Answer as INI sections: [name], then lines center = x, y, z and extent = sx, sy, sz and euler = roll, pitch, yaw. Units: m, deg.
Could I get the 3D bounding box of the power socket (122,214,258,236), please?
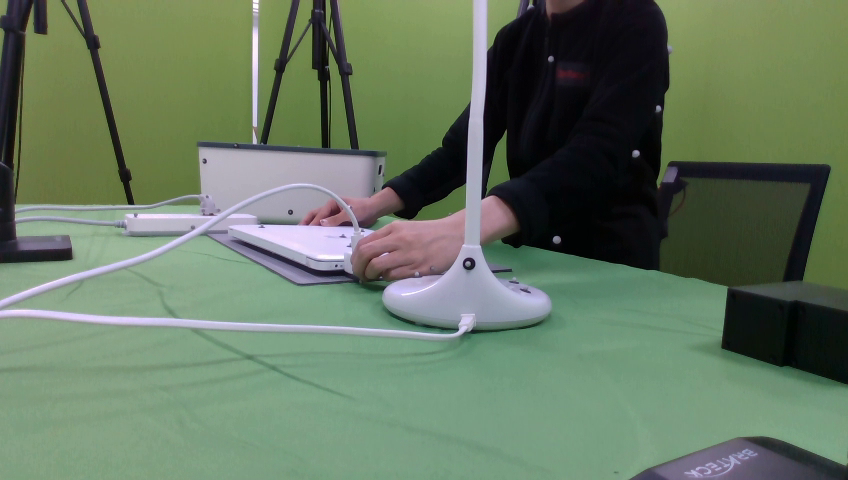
[power socket]
center = -0.398, -0.028, 1.049
extent = 0.228, 0.032, 0.072
euler = -3, 8, -34

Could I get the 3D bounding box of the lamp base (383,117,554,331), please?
[lamp base]
center = 0.045, -0.019, 0.547
extent = 0.161, 0.180, 0.179
euler = 2, 10, -4

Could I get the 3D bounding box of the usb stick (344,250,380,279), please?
[usb stick]
center = -0.074, 0.027, 0.687
extent = 0.021, 0.027, 0.059
euler = -11, 11, -34

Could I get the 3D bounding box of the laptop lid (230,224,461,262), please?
[laptop lid]
center = -0.120, 0.000, 0.889
extent = 0.243, 0.013, 0.355
euler = 1, 7, -33

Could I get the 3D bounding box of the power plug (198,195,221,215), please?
[power plug]
center = -0.387, -0.055, 1.089
extent = 0.035, 0.052, 0.072
euler = -1, 6, -22

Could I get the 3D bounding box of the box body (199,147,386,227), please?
[box body]
center = -0.276, -0.124, 1.334
extent = 0.364, 0.160, 0.254
euler = 3, 7, 1

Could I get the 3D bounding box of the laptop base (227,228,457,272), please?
[laptop base]
center = -0.122, 0.012, 0.889
extent = 0.237, 0.023, 0.352
euler = 2, 6, -35

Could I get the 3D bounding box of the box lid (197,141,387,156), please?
[box lid]
center = -0.275, -0.198, 1.325
extent = 0.372, 0.015, 0.263
euler = 3, 8, 1
